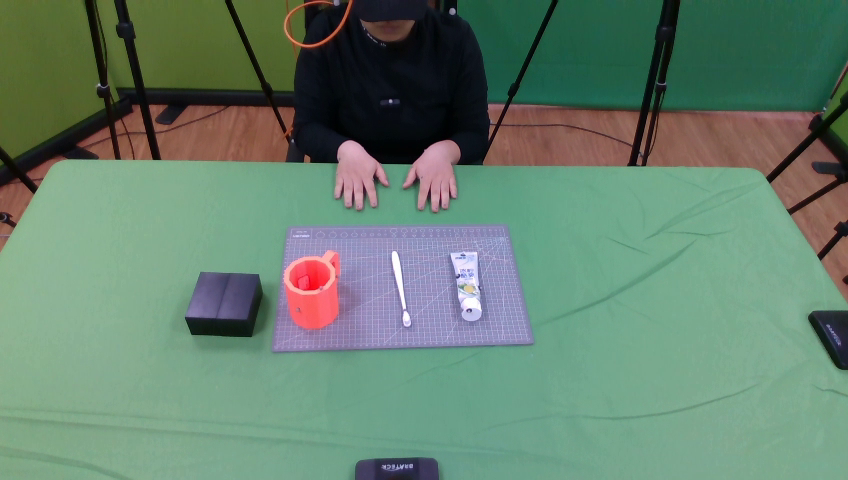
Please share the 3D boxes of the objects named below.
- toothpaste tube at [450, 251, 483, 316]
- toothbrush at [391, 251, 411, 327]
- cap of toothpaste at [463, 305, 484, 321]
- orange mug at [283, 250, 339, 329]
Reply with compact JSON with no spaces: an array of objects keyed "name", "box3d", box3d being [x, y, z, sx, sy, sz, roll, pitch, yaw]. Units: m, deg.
[{"name":"toothpaste tube","box3d":[0.085,0.077,1.122,0.055,0.035,0.164,2,42,-8]},{"name":"toothbrush","box3d":[-0.044,0.085,1.112,0.014,0.017,0.180,-14,46,1]},{"name":"cap of toothpaste","box3d":[0.087,0.128,1.064,0.037,0.037,0.011,2,40,-1]},{"name":"orange mug","box3d":[-0.186,0.078,1.052,0.083,0.101,0.126,20,52,15]}]
